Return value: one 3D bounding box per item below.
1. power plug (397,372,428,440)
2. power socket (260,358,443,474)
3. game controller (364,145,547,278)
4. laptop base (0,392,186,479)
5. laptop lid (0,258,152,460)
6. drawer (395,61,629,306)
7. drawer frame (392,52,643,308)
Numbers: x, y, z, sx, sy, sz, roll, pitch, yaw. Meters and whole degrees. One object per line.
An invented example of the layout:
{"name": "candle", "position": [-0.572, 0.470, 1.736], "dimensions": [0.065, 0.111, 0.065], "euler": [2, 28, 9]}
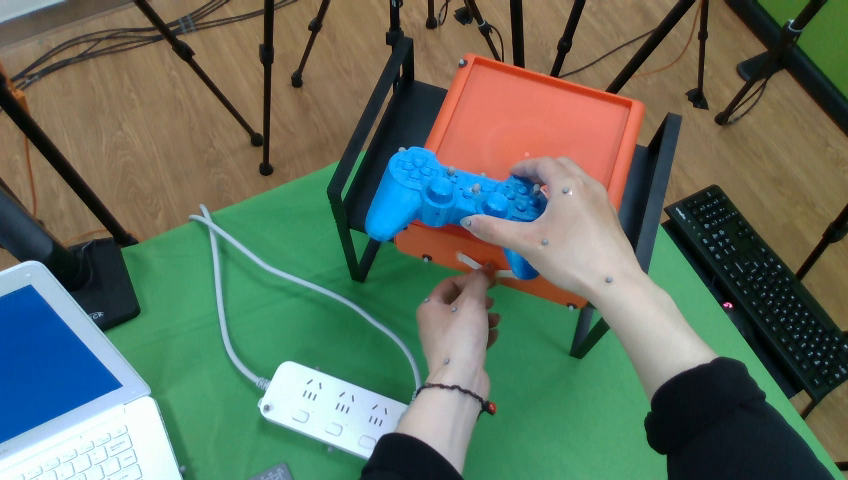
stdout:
{"name": "power plug", "position": [-0.004, 0.196, 0.699], "dimensions": [0.035, 0.053, 0.072], "euler": [28, 67, 13]}
{"name": "power socket", "position": [-0.085, 0.206, 0.717], "dimensions": [0.226, 0.033, 0.072], "euler": [19, 67, 8]}
{"name": "game controller", "position": [0.034, -0.031, 0.520], "dimensions": [0.155, 0.052, 0.096], "euler": [15, 49, -4]}
{"name": "laptop base", "position": [-0.426, 0.347, 0.656], "dimensions": [0.354, 0.023, 0.234], "euler": [-25, 71, -12]}
{"name": "laptop lid", "position": [-0.502, 0.169, 0.618], "dimensions": [0.357, 0.244, 0.013], "euler": [-26, 44, -11]}
{"name": "drawer", "position": [0.096, -0.061, 0.618], "dimensions": [0.194, 0.074, 0.210], "euler": [18, 66, 8]}
{"name": "drawer frame", "position": [0.096, -0.066, 0.619], "dimensions": [0.201, 0.083, 0.212], "euler": [18, 66, 7]}
